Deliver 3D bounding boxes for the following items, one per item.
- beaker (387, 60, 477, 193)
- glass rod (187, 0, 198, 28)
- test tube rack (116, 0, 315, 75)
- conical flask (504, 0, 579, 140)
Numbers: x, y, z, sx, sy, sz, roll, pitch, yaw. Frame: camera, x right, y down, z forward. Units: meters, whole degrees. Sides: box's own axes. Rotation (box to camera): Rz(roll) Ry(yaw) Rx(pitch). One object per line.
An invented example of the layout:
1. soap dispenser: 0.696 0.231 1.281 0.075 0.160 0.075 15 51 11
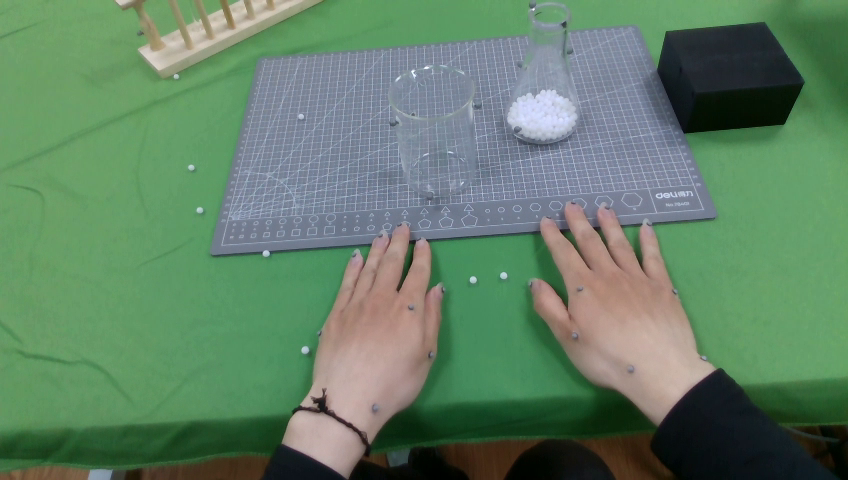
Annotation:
1. beaker: 0.009 -0.100 0.547 0.074 0.101 0.083 -23 52 -12
2. glass rod: -0.286 -0.339 0.693 0.008 0.201 0.008 1 45 -1
3. test tube rack: -0.243 -0.306 0.747 0.242 0.086 0.066 -35 56 -20
4. conical flask: 0.113 -0.161 0.569 0.075 0.123 0.074 -3 52 4
